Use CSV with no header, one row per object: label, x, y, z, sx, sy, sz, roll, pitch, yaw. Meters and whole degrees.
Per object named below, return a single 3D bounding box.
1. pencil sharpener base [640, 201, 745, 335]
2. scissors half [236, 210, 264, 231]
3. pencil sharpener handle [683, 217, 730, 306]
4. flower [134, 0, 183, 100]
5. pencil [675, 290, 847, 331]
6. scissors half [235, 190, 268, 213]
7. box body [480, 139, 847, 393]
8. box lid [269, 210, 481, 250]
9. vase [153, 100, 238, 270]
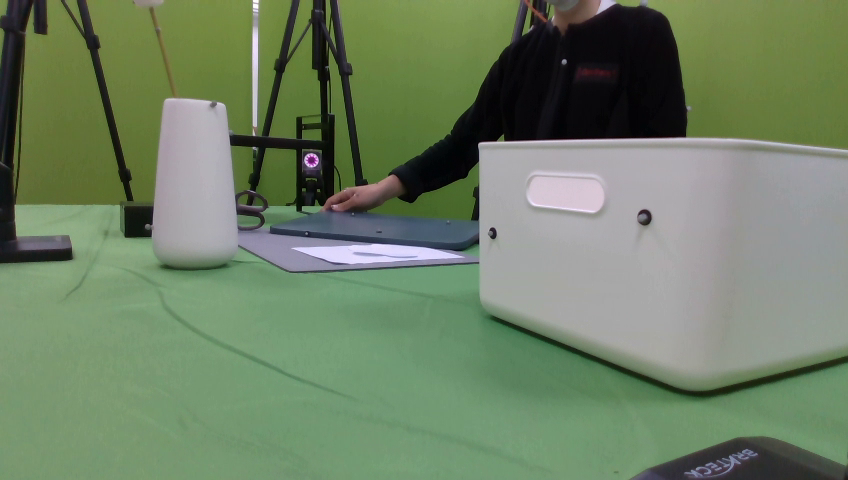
pencil sharpener base,0.232,0.022,0.528,0.061,0.107,0.077,4,8,7
scissors half,-0.369,-0.051,1.064,0.176,0.040,0.012,19,13,-27
pencil sharpener handle,0.224,0.017,0.476,0.036,0.067,0.030,8,9,6
flower,-0.282,-0.147,0.713,0.038,0.362,0.044,-23,24,-31
pencil,0.331,0.067,0.608,0.012,0.012,0.193,-1,6,-26
scissors half,-0.363,-0.070,1.060,0.176,0.040,0.013,0,16,-23
box body,0.255,0.001,0.541,0.366,0.160,0.253,-2,8,-31
box lid,-0.073,-0.023,1.135,0.370,0.015,0.264,5,11,17
vase,-0.278,-0.066,0.736,0.098,0.200,0.098,2,9,0
